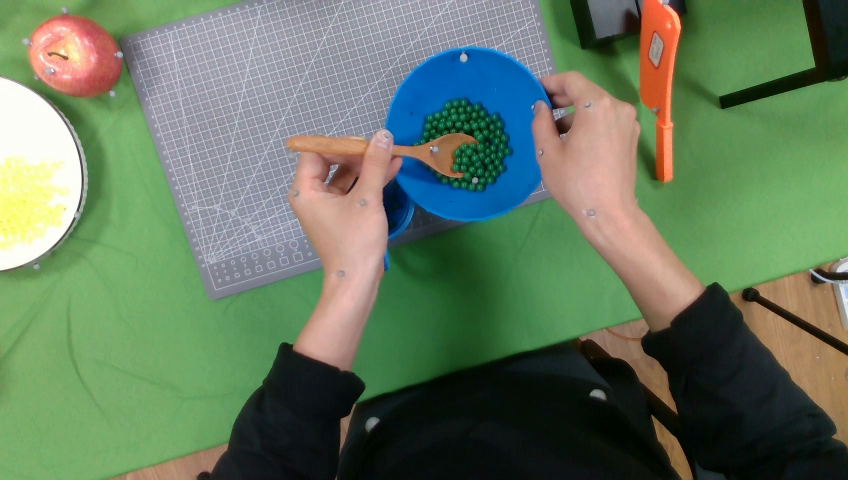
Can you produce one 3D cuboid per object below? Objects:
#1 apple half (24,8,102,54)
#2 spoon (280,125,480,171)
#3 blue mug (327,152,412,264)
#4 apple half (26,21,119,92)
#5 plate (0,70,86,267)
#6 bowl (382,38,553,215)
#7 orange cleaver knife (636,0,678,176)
[{"bbox_3d":[-0.369,-0.213,0.613,0.081,0.081,0.033,-32,102,0],"label":"apple half"},{"bbox_3d":[-0.029,-0.083,0.516,0.195,0.021,0.042,-2,104,-39],"label":"spoon"},{"bbox_3d":[-0.053,-0.032,0.637,0.082,0.105,0.116,-9,96,-3],"label":"blue mug"},{"bbox_3d":[-0.349,-0.180,0.619,0.081,0.074,0.053,-32,101,-4],"label":"apple half"},{"bbox_3d":[-0.461,-0.076,0.639,0.209,0.038,0.209,0,96,-4],"label":"plate"},{"bbox_3d":[0.043,-0.101,0.559,0.151,0.077,0.151,1,99,10],"label":"bowl"},{"bbox_3d":[0.249,-0.169,0.657,0.012,0.076,0.213,-18,127,-3],"label":"orange cleaver knife"}]
